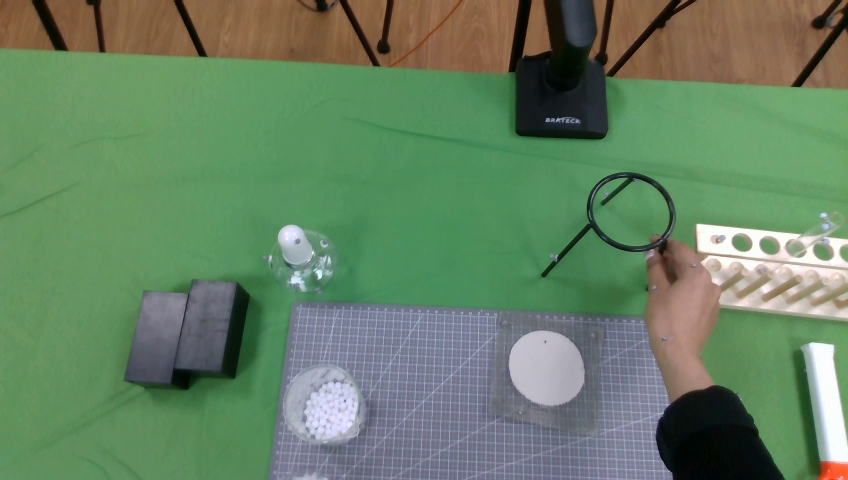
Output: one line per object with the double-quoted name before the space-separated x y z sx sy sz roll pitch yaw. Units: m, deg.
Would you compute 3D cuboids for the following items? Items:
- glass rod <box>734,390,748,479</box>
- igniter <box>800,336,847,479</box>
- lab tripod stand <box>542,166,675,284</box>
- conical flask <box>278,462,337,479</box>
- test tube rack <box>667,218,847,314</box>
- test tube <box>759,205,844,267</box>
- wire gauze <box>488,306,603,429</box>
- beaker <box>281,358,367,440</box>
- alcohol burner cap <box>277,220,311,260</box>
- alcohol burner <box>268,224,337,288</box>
"glass rod" 0.342 0.261 0.644 0.008 0.008 0.198 4 72 1
"igniter" 0.436 0.239 0.643 0.057 0.025 0.274 8 69 -7
"lab tripod stand" 0.210 -0.011 0.681 0.148 0.132 0.147 0 71 1
"conical flask" -0.123 0.252 0.582 0.075 0.122 0.075 0 69 0
"test tube rack" 0.415 0.033 0.689 0.242 0.086 0.066 6 69 2
"test tube" 0.399 0.000 0.649 0.017 0.151 0.017 -1 69 3
"wire gauze" 0.139 0.141 0.686 0.125 0.011 0.120 11 69 1
"beaker" -0.096 0.170 0.625 0.083 0.101 0.074 38 74 12
"alcohol burner cap" -0.140 -0.003 0.648 0.034 0.048 0.033 1 63 -1
"alcohol burner" -0.140 0.012 0.681 0.078 0.120 0.077 -1 70 2
